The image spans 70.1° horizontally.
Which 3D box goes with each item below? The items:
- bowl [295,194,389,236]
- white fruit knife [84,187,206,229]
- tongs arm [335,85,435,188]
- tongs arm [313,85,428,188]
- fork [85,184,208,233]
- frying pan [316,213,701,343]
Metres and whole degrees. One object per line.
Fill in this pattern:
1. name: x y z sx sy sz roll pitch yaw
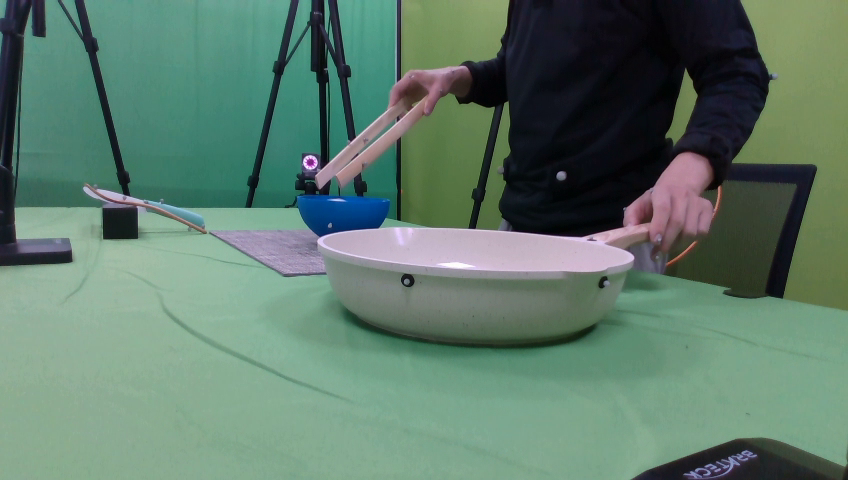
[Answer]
1. bowl: -0.133 -0.032 0.981 0.151 0.077 0.151 2 7 0
2. white fruit knife: -0.488 -0.059 1.071 0.208 0.027 0.016 17 4 -33
3. tongs arm: -0.057 -0.194 1.072 0.028 0.028 0.388 -1 32 29
4. tongs arm: -0.082 -0.196 1.085 0.050 0.026 0.385 0 33 25
5. fork: -0.462 -0.051 1.019 0.208 0.018 0.028 22 -11 -37
6. frying pan: 0.133 0.013 0.629 0.490 0.102 0.305 -12 14 -30
